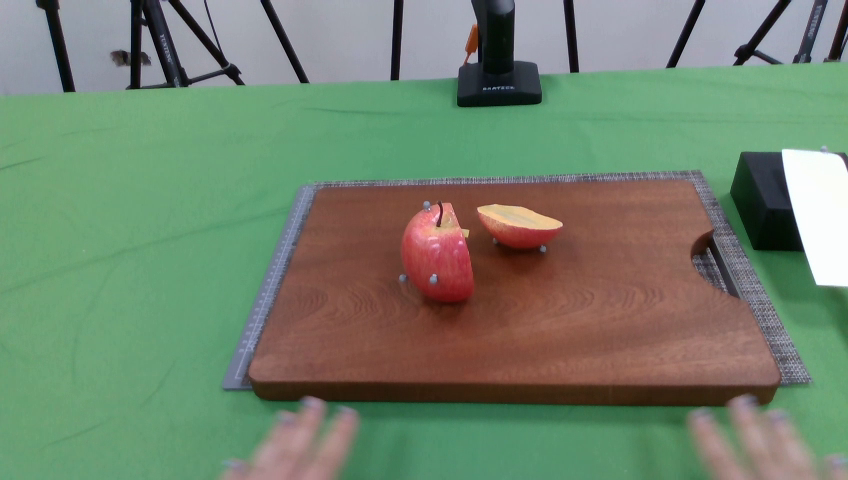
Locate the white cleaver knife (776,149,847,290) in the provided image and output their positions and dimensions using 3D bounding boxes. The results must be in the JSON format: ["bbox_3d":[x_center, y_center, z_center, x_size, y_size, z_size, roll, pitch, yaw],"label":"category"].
[{"bbox_3d":[0.356,0.022,0.512,0.066,0.022,0.284,0,50,12],"label":"white cleaver knife"}]

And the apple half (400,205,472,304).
[{"bbox_3d":[0.007,0.015,0.513,0.053,0.075,0.080,-14,43,-4],"label":"apple half"}]

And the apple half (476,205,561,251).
[{"bbox_3d":[0.082,-0.007,0.559,0.081,0.033,0.081,9,18,-3],"label":"apple half"}]
